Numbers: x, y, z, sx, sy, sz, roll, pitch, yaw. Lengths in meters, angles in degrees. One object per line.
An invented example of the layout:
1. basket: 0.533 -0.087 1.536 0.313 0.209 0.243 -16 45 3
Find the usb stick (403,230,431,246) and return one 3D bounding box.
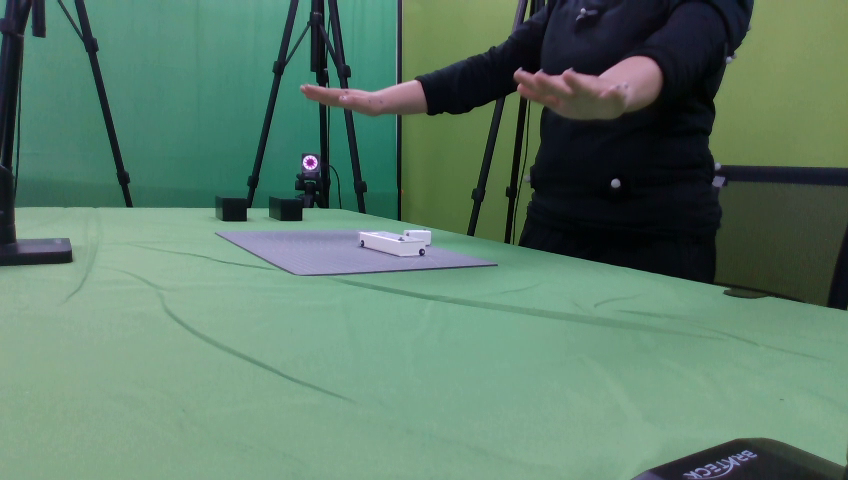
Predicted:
1. usb stick: -0.018 -0.003 1.020 0.059 0.027 0.021 -7 15 -34

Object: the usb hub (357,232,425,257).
1. usb hub: -0.055 0.005 0.947 0.050 0.025 0.124 -3 9 -36
